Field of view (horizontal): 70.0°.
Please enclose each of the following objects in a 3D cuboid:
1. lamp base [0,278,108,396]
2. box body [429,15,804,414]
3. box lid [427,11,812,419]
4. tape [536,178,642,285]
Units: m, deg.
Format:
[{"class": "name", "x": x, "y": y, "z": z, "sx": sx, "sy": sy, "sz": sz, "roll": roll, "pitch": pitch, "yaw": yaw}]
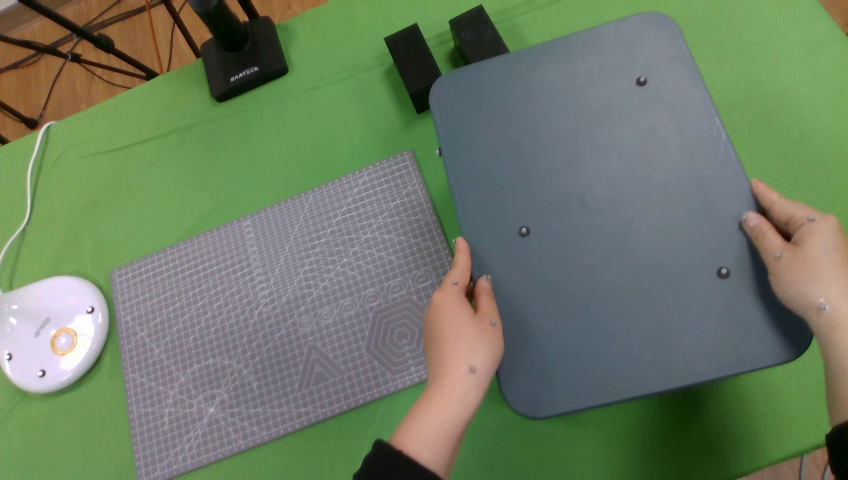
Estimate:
[{"class": "lamp base", "x": -0.525, "y": 0.097, "z": 0.746, "sx": 0.178, "sy": 0.182, "sz": 0.160, "roll": 15, "pitch": 73, "yaw": 20}, {"class": "box body", "x": 0.174, "y": -0.018, "z": 0.642, "sx": 0.254, "sy": 0.162, "sz": 0.361, "roll": -16, "pitch": 67, "yaw": 6}, {"class": "box lid", "x": 0.159, "y": -0.042, "z": 0.568, "sx": 0.263, "sy": 0.015, "sz": 0.368, "roll": -16, "pitch": 68, "yaw": 6}, {"class": "tape", "x": 0.187, "y": -0.010, "z": 0.689, "sx": 0.116, "sy": 0.053, "sz": 0.116, "roll": -4, "pitch": 69, "yaw": 11}]
